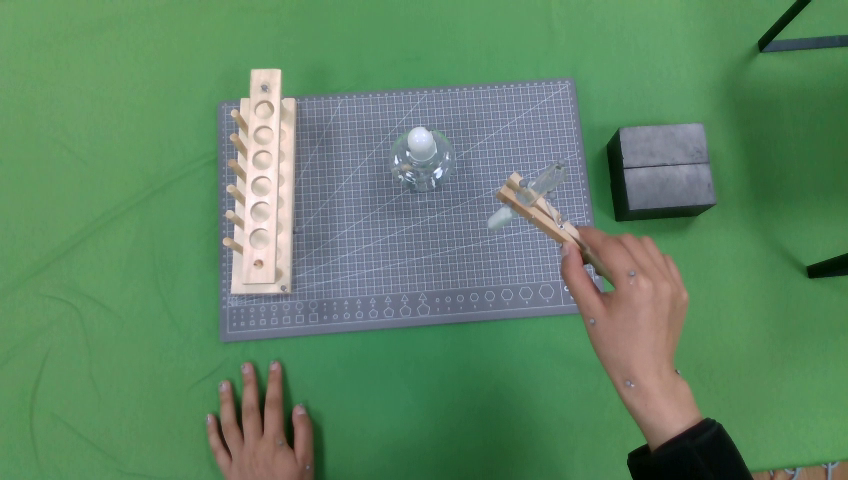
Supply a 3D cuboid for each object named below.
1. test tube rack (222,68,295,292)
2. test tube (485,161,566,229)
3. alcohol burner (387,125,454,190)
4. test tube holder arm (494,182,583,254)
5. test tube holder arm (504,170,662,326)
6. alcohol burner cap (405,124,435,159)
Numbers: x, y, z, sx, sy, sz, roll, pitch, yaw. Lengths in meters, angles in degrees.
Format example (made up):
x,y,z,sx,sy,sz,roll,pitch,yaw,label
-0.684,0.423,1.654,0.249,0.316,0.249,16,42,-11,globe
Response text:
x,y,z,sx,sy,sz,roll,pitch,yaw,label
-0.192,-0.066,0.693,0.067,0.085,0.241,-1,78,-1,test tube rack
0.080,-0.034,0.512,0.017,0.150,0.017,3,76,-13,test tube
-0.004,-0.100,0.689,0.078,0.119,0.077,0,79,1,alcohol burner
0.097,-0.018,0.505,0.088,0.015,0.010,35,73,-5,test tube holder arm
0.134,0.007,0.509,0.178,0.015,0.013,43,73,-2,test tube holder arm
-0.005,-0.108,0.654,0.034,0.048,0.034,0,83,1,alcohol burner cap
